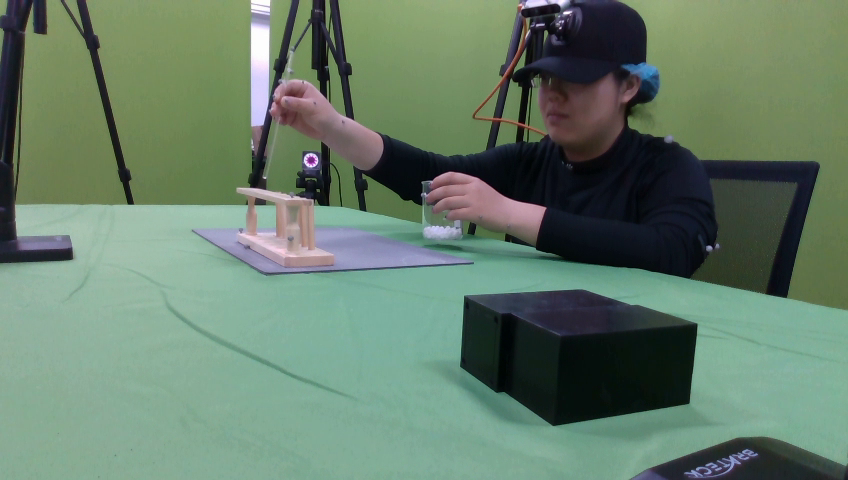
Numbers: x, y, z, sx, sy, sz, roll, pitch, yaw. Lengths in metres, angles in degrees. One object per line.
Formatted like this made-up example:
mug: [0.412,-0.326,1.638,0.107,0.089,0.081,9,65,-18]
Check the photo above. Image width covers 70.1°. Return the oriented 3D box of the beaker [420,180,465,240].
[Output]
beaker: [0.035,-0.050,1.018,0.083,0.100,0.074,3,6,42]

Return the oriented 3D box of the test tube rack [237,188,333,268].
test tube rack: [-0.203,-0.024,0.854,0.067,0.085,0.241,-1,8,-30]

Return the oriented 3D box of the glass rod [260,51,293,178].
glass rod: [-0.223,-0.190,0.918,0.008,0.199,0.008,12,-3,1]
